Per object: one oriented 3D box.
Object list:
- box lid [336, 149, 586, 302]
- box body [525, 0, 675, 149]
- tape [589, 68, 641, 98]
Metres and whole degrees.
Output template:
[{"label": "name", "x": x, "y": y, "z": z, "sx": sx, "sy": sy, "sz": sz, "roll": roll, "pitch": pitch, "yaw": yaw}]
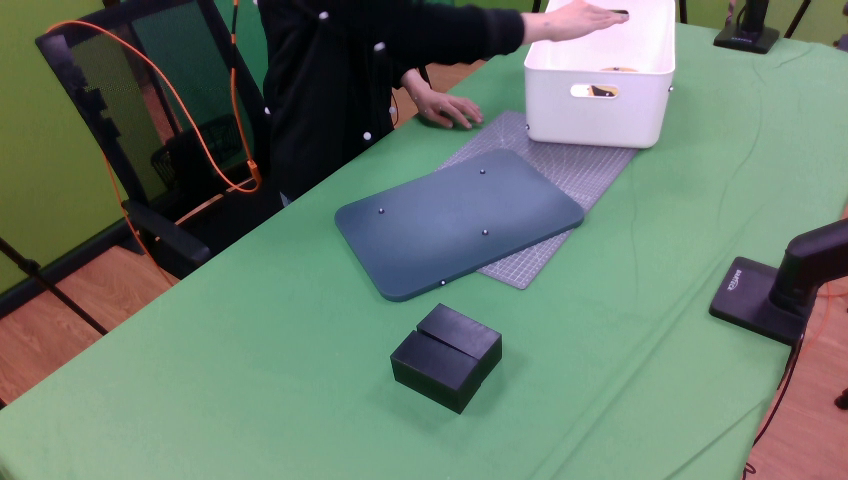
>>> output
[{"label": "box lid", "x": 0.055, "y": -0.040, "z": 1.022, "sx": 0.373, "sy": 0.015, "sz": 0.261, "roll": -22, "pitch": 42, "yaw": -16}, {"label": "box body", "x": 0.356, "y": -0.342, "z": 1.212, "sx": 0.253, "sy": 0.161, "sz": 0.363, "roll": 7, "pitch": 42, "yaw": 17}, {"label": "tape", "x": 0.396, "y": -0.304, "z": 1.236, "sx": 0.117, "sy": 0.053, "sz": 0.116, "roll": -4, "pitch": 41, "yaw": 4}]
